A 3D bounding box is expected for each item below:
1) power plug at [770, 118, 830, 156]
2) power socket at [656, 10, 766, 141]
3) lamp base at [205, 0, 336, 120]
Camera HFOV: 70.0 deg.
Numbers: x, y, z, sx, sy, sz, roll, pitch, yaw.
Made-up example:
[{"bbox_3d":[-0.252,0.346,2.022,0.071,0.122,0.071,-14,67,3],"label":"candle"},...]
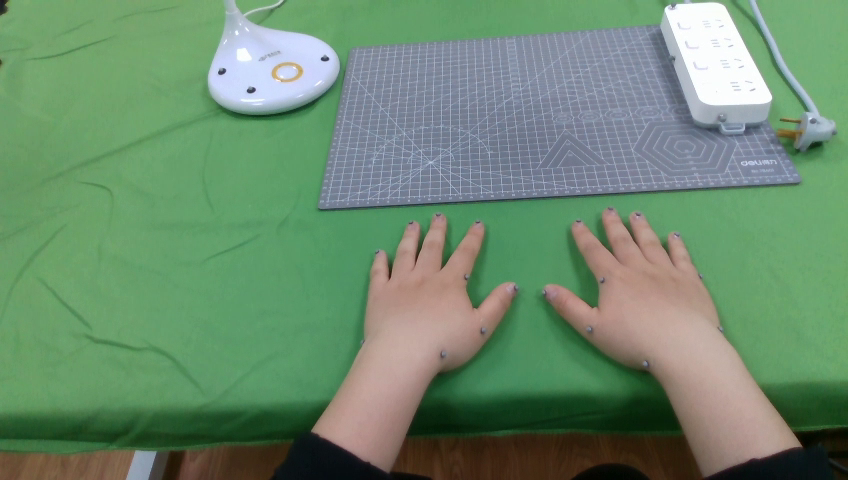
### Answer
[{"bbox_3d":[0.362,-0.101,0.592,0.052,0.035,0.072,11,14,12],"label":"power plug"},{"bbox_3d":[0.309,-0.191,0.666,0.072,0.033,0.224,0,47,7],"label":"power socket"},{"bbox_3d":[-0.205,-0.255,0.695,0.177,0.182,0.160,28,56,32],"label":"lamp base"}]
